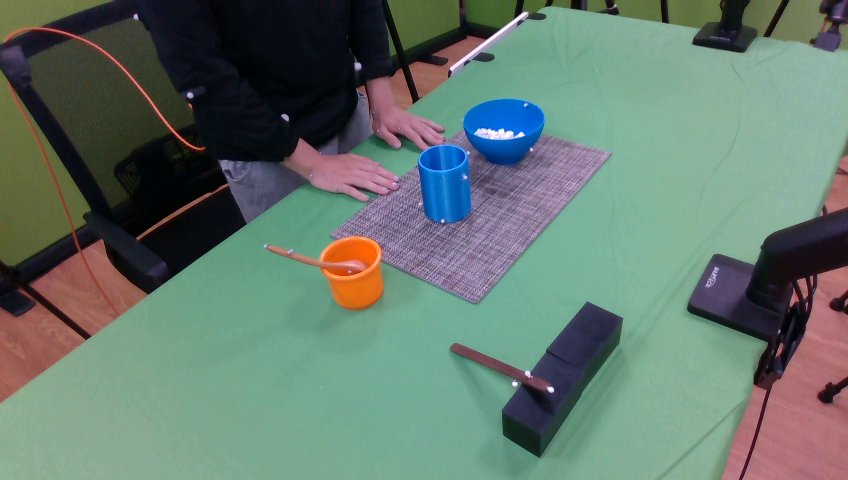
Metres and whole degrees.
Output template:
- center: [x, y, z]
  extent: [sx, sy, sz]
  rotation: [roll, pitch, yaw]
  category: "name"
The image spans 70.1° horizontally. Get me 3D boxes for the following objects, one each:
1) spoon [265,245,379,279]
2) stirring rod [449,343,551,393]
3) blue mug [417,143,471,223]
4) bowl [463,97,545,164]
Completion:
- center: [-0.137, 0.031, 0.846]
  extent: [0.195, 0.021, 0.041]
  rotation: [13, 16, -45]
  category: "spoon"
- center: [0.088, 0.154, 0.741]
  extent: [0.014, 0.006, 0.174]
  rotation: [-39, 28, -25]
  category: "stirring rod"
- center: [0.031, -0.104, 1.014]
  extent: [0.082, 0.106, 0.115]
  rotation: [-14, 41, -7]
  category: "blue mug"
- center: [0.149, -0.195, 1.123]
  extent: [0.151, 0.077, 0.150]
  rotation: [-4, 41, 4]
  category: "bowl"
